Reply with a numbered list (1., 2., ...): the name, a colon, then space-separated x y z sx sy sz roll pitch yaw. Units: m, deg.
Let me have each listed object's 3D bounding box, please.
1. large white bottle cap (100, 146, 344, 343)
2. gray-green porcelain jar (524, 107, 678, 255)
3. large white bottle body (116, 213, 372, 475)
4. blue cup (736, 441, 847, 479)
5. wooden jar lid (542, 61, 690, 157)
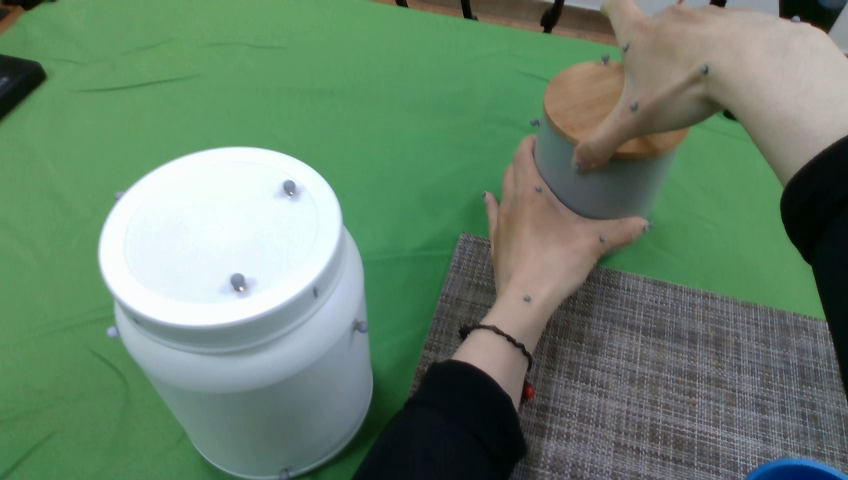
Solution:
1. large white bottle cap: -0.098 -0.003 0.301 0.115 0.018 0.113 1 51 -1
2. gray-green porcelain jar: 0.141 -0.057 0.503 0.106 0.127 0.105 1 52 -1
3. large white bottle body: -0.100 0.051 0.367 0.131 0.186 0.129 1 51 -1
4. blue cup: 0.191 0.176 0.330 0.093 0.101 0.091 1 50 -1
5. wooden jar lid: 0.141 -0.096 0.454 0.108 0.021 0.107 2 50 -2
